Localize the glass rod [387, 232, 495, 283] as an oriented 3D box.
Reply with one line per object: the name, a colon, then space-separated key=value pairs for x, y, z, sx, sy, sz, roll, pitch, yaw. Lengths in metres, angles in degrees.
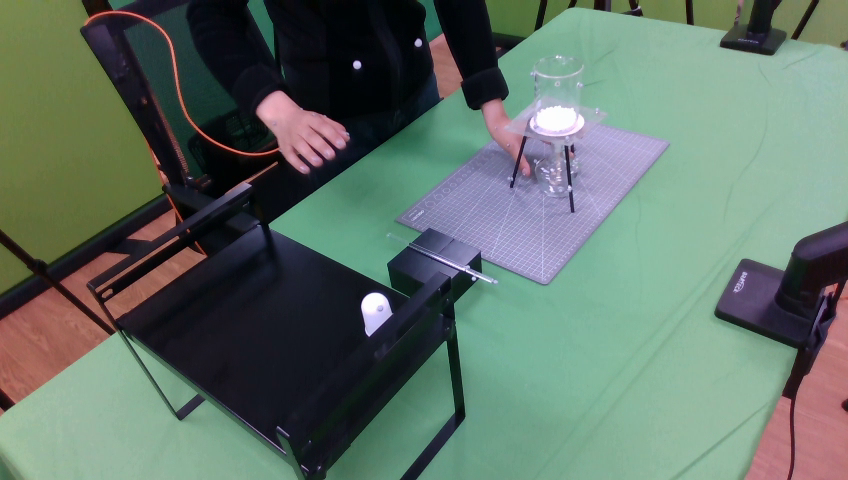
glass rod: x=0.020 y=0.025 z=0.880 sx=0.198 sy=0.008 sz=0.008 roll=23 pitch=49 yaw=32

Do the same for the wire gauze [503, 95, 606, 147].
wire gauze: x=0.212 y=-0.191 z=0.976 sx=0.120 sy=0.011 sz=0.125 roll=24 pitch=52 yaw=32

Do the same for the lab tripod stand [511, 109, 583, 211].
lab tripod stand: x=0.220 y=-0.138 z=1.014 sx=0.148 sy=0.132 sz=0.147 roll=-3 pitch=41 yaw=3

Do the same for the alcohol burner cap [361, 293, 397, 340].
alcohol burner cap: x=-0.046 y=0.073 z=0.601 sx=0.034 sy=0.048 sz=0.033 roll=-5 pitch=42 yaw=5

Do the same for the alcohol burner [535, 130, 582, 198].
alcohol burner: x=0.227 y=-0.131 z=1.021 sx=0.078 sy=0.119 sz=0.077 roll=-6 pitch=40 yaw=5

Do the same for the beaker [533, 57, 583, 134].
beaker: x=0.208 y=-0.225 z=0.941 sx=0.073 sy=0.101 sz=0.084 roll=10 pitch=44 yaw=20
